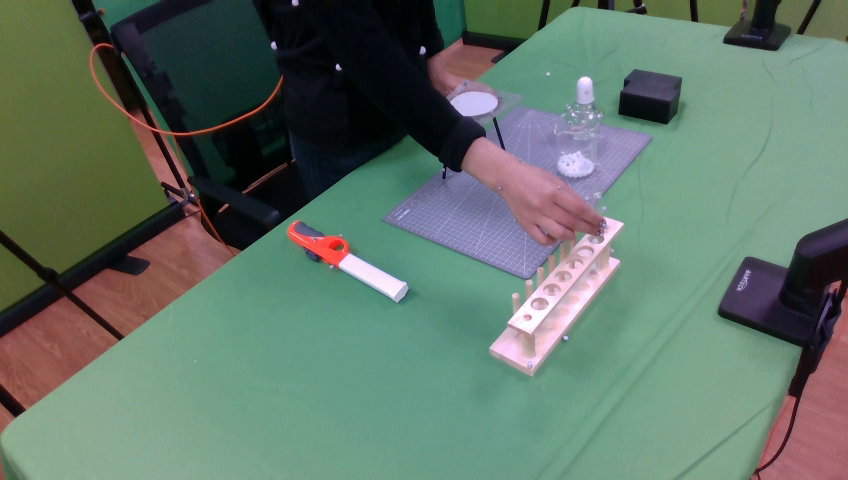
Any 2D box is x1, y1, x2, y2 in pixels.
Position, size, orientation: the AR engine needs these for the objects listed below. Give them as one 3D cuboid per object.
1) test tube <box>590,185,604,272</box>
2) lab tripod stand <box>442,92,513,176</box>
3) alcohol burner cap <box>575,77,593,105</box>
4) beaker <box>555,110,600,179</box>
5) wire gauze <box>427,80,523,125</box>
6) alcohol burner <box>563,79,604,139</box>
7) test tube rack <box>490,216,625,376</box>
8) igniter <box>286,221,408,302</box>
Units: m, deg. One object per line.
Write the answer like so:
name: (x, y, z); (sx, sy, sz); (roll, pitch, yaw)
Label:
test tube: (0.233, -0.012, 0.817); (0.017, 0.151, 0.017); (-7, 42, 7)
lab tripod stand: (0.097, -0.189, 1.096); (0.148, 0.132, 0.147); (-4, 40, 4)
alcohol burner cap: (0.297, -0.279, 1.123); (0.034, 0.048, 0.033); (-8, 42, 8)
beaker: (0.266, -0.164, 1.061); (0.084, 0.101, 0.073); (-24, 42, -15)
wire gauze: (0.088, -0.238, 1.049); (0.120, 0.011, 0.125); (22, 49, 30)
alcohol burner: (0.304, -0.252, 1.146); (0.078, 0.119, 0.077); (-4, 41, 4)
test tube rack: (0.184, 0.064, 0.822); (0.066, 0.085, 0.243); (24, 50, 33)
igniter: (-0.133, 0.028, 0.968); (0.274, 0.025, 0.057); (26, 61, 35)
